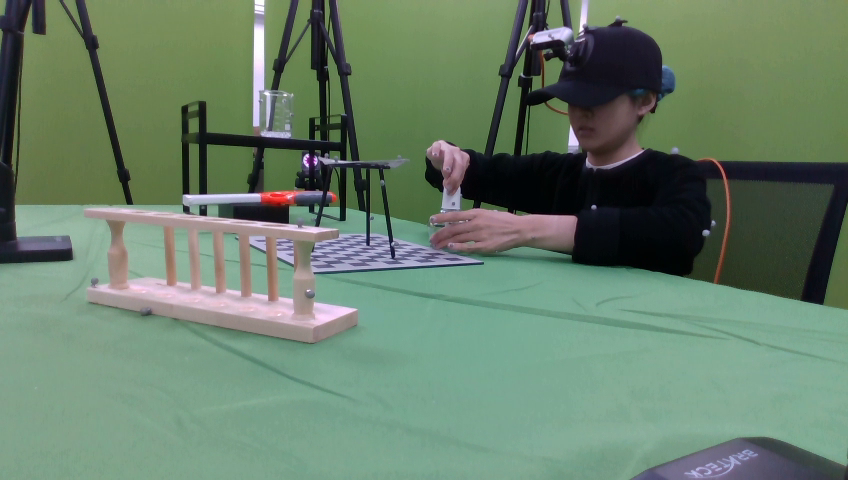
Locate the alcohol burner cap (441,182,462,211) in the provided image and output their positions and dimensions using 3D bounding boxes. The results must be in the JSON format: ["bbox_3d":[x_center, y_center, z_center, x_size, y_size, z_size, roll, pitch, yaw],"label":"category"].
[{"bbox_3d":[0.046,-0.070,0.979,0.034,0.048,0.034,4,6,0],"label":"alcohol burner cap"}]

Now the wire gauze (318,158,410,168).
[{"bbox_3d":[-0.090,-0.114,0.888,0.122,0.011,0.124,0,6,-15],"label":"wire gauze"}]

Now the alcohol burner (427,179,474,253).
[{"bbox_3d":[0.044,-0.039,0.984,0.078,0.119,0.078,5,7,0],"label":"alcohol burner"}]

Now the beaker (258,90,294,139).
[{"bbox_3d":[-0.324,-0.274,1.331,0.083,0.100,0.074,7,9,24],"label":"beaker"}]

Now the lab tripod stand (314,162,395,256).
[{"bbox_3d":[-0.098,-0.048,0.897,0.148,0.131,0.148,1,6,0],"label":"lab tripod stand"}]

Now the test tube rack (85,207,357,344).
[{"bbox_3d":[-0.177,0.022,0.518,0.241,0.085,0.067,6,7,23],"label":"test tube rack"}]

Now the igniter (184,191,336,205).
[{"bbox_3d":[-0.298,-0.078,1.126,0.278,0.025,0.057,-4,13,-32],"label":"igniter"}]
